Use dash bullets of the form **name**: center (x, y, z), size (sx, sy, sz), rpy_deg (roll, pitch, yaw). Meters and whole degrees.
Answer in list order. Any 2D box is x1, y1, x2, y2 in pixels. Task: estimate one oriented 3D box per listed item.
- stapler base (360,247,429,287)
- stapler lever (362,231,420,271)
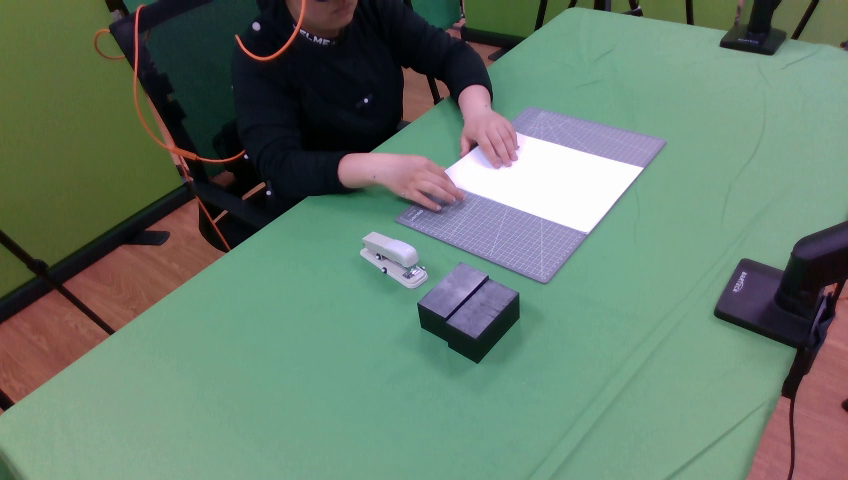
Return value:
- **stapler base**: center (-0.048, 0.031, 0.948), size (0.041, 0.024, 0.129), rpy_deg (-33, 44, -31)
- **stapler lever**: center (-0.052, 0.011, 0.933), size (0.027, 0.040, 0.117), rpy_deg (-34, 44, -31)
